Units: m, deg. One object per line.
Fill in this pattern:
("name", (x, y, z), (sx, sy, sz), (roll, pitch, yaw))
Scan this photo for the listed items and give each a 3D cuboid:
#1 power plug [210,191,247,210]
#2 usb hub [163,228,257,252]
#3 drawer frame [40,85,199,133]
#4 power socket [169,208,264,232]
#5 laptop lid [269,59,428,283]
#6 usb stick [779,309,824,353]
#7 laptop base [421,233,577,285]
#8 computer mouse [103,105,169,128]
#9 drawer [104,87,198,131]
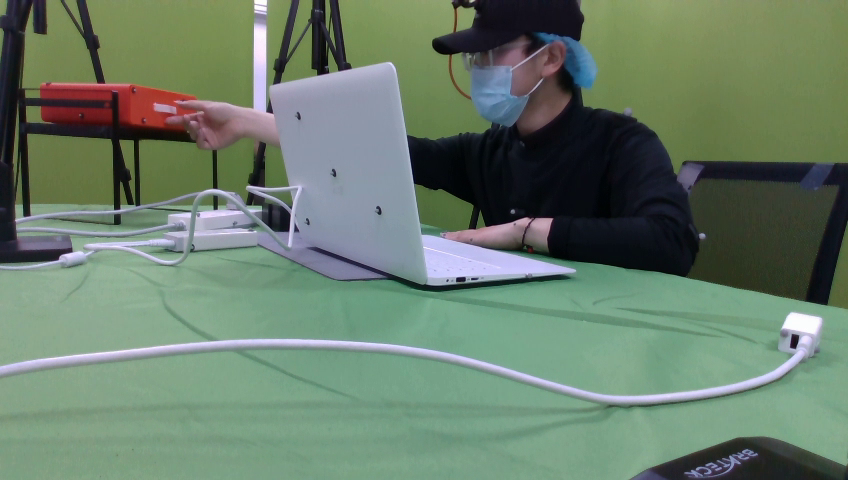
("power plug", (-0.386, -0.070, 1.203), (0.072, 0.052, 0.035), (8, 9, 26))
("usb hub", (-0.314, 0.000, 0.894), (0.049, 0.025, 0.126), (9, 11, 41))
("drawer frame", (-0.612, -0.266, 1.235), (0.213, 0.082, 0.202), (4, 8, 15))
("power socket", (-0.381, -0.038, 1.128), (0.072, 0.032, 0.227), (4, 8, 17))
("laptop lid", (-0.110, -0.087, 0.752), (0.013, 0.241, 0.355), (-18, 19, -30))
("usb stick", (0.311, 0.072, 0.496), (0.027, 0.021, 0.059), (8, 15, 34))
("laptop base", (0.007, 0.022, 0.850), (0.237, 0.023, 0.352), (1, 7, -34))
("computer mouse", (-0.581, -0.249, 1.223), (0.118, 0.041, 0.062), (2, 3, -39))
("drawer", (-0.609, -0.264, 1.235), (0.211, 0.073, 0.195), (3, 8, 16))
